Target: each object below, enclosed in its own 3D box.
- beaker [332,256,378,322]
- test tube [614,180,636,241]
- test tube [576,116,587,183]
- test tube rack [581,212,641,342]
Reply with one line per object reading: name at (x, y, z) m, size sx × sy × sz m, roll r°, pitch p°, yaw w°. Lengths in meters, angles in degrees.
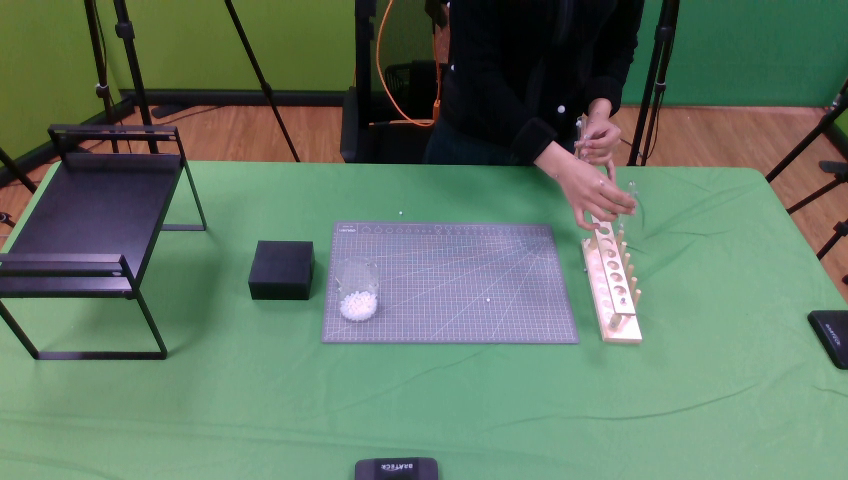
beaker at (-0.114, 0.089, 1.047) m, size 0.083 × 0.101 × 0.074 m, roll 30°, pitch 52°, yaw 21°
test tube at (0.366, -0.052, 1.106) m, size 0.017 × 0.151 × 0.017 m, roll -3°, pitch 49°, yaw 3°
test tube at (0.298, -0.168, 1.144) m, size 0.017 × 0.151 × 0.017 m, roll -9°, pitch 43°, yaw 8°
test tube rack at (0.351, 0.063, 1.121) m, size 0.067 × 0.085 × 0.241 m, roll 2°, pitch 46°, yaw -1°
